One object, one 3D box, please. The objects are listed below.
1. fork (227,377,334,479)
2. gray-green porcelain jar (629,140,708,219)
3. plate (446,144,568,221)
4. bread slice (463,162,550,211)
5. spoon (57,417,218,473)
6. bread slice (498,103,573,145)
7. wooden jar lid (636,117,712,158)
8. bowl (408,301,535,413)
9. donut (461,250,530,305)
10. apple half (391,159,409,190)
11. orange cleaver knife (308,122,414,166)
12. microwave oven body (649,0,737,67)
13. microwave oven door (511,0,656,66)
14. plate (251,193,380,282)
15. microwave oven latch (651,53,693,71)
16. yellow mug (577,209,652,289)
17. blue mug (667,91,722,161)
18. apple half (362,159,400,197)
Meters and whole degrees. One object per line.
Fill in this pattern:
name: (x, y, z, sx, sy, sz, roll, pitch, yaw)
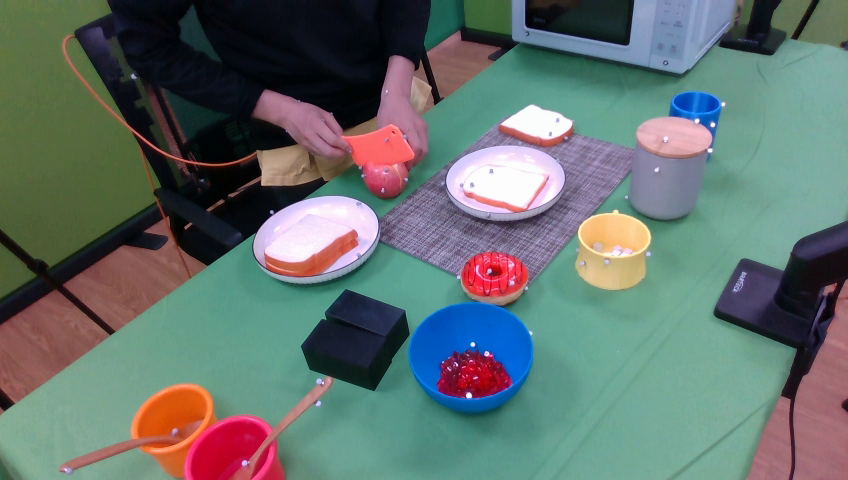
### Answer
fork: (-0.162, 0.216, 0.647, 0.207, 0.019, 0.028, -49, 41, 16)
gray-green porcelain jar: (0.383, -0.105, 0.958, 0.106, 0.127, 0.105, -4, 41, 4)
plate: (0.142, -0.096, 1.045, 0.207, 0.039, 0.206, -4, 40, 4)
bread slice: (0.135, -0.094, 1.045, 0.133, 0.018, 0.107, 15, 45, 23)
spoon: (-0.304, 0.221, 0.661, 0.041, 0.195, 0.021, 19, 92, 27)
bread slice: (0.231, -0.232, 1.205, 0.105, 0.019, 0.130, -36, 47, -29)
wooden jar lid: (0.377, -0.151, 0.917, 0.108, 0.021, 0.108, -2, 41, 3)
bowl: (0.060, 0.156, 0.739, 0.151, 0.077, 0.150, -4, 40, 4)
donut: (0.103, 0.053, 0.872, 0.099, 0.048, 0.098, -4, 40, 4)
apple half: (-0.060, -0.130, 1.091, 0.080, 0.075, 0.053, 16, 44, 31)
orange cleaver knife: (-0.112, -0.163, 1.053, 0.210, 0.077, 0.012, 1, 39, 32)
microwave oven body: (0.475, -0.602, 1.411, 0.438, 0.261, 0.327, 23, 50, 32)
microwave oven door: (0.351, -0.540, 1.349, 0.353, 0.245, 0.039, 24, 50, 31)
plate: (-0.173, -0.001, 0.984, 0.209, 0.038, 0.208, -4, 40, 3)
microwave oven latch: (0.532, -0.386, 1.301, 0.078, 0.029, 0.030, 27, 52, 34)
yellow mug: (0.279, 0.004, 0.893, 0.099, 0.064, 0.130, 5, 41, 14)
blue mug: (0.473, -0.207, 1.079, 0.082, 0.106, 0.116, 4, 42, 13)
apple half: (-0.081, -0.102, 1.063, 0.081, 0.081, 0.033, 15, 46, 24)
